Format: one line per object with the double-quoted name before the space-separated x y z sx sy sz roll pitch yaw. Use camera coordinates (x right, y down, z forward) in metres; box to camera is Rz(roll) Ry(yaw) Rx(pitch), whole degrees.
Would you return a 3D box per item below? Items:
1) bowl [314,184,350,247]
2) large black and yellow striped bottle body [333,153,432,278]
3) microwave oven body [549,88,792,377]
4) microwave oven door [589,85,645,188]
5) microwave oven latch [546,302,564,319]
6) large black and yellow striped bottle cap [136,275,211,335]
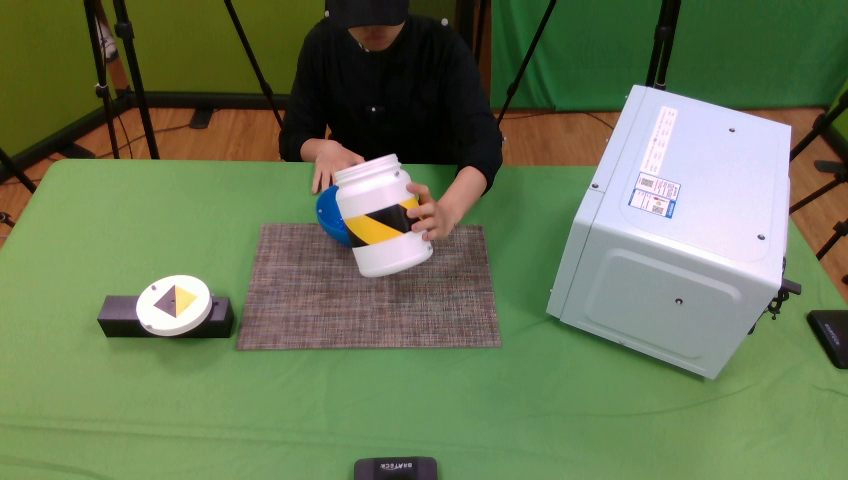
"bowl" -0.135 -0.039 1.181 0.151 0.077 0.150 2 46 -2
"large black and yellow striped bottle body" -0.072 -0.043 1.015 0.131 0.184 0.130 -17 8 3
"microwave oven body" 0.456 -0.028 1.088 0.325 0.261 0.440 20 47 16
"microwave oven door" 0.341 -0.107 1.149 0.039 0.245 0.354 20 48 15
"microwave oven latch" 0.242 0.102 1.081 0.030 0.029 0.079 21 48 17
"large black and yellow striped bottle cap" -0.412 0.105 0.998 0.115 0.019 0.114 3 46 -3
